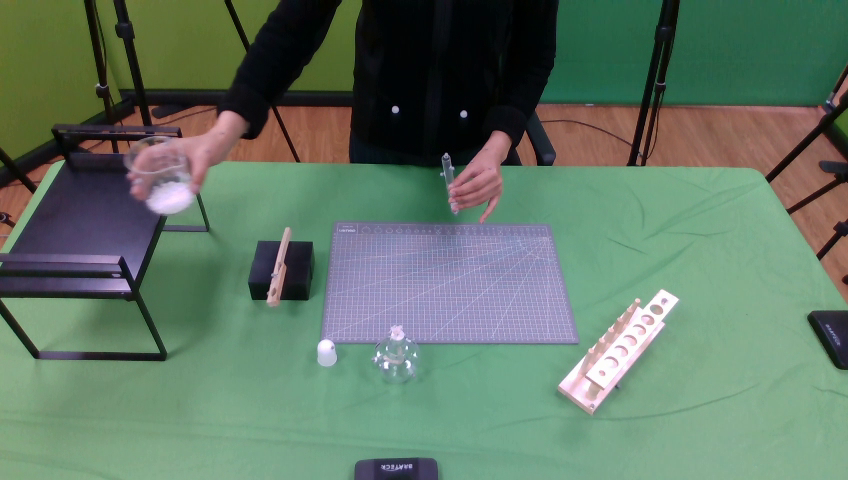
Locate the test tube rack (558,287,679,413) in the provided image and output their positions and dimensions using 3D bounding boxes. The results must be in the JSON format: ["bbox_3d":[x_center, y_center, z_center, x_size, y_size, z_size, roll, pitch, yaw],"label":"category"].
[{"bbox_3d":[0.326,0.170,1.009,0.066,0.085,0.242,36,54,27],"label":"test tube rack"}]

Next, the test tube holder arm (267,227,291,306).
[{"bbox_3d":[-0.255,0.042,1.070,0.013,0.015,0.177,-7,46,7],"label":"test tube holder arm"}]

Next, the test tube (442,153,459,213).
[{"bbox_3d":[0.048,-0.098,1.086,0.017,0.151,0.017,-5,53,7],"label":"test tube"}]

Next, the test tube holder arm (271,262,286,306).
[{"bbox_3d":[-0.249,0.074,1.039,0.010,0.015,0.087,-8,46,6],"label":"test tube holder arm"}]

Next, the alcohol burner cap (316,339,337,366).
[{"bbox_3d":[-0.161,0.182,0.996,0.034,0.048,0.033,2,47,-2],"label":"alcohol burner cap"}]

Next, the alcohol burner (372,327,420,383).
[{"bbox_3d":[-0.044,0.175,0.961,0.078,0.120,0.077,1,48,-1],"label":"alcohol burner"}]

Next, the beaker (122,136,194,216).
[{"bbox_3d":[-0.380,-0.089,0.885,0.084,0.101,0.073,14,54,6],"label":"beaker"}]
